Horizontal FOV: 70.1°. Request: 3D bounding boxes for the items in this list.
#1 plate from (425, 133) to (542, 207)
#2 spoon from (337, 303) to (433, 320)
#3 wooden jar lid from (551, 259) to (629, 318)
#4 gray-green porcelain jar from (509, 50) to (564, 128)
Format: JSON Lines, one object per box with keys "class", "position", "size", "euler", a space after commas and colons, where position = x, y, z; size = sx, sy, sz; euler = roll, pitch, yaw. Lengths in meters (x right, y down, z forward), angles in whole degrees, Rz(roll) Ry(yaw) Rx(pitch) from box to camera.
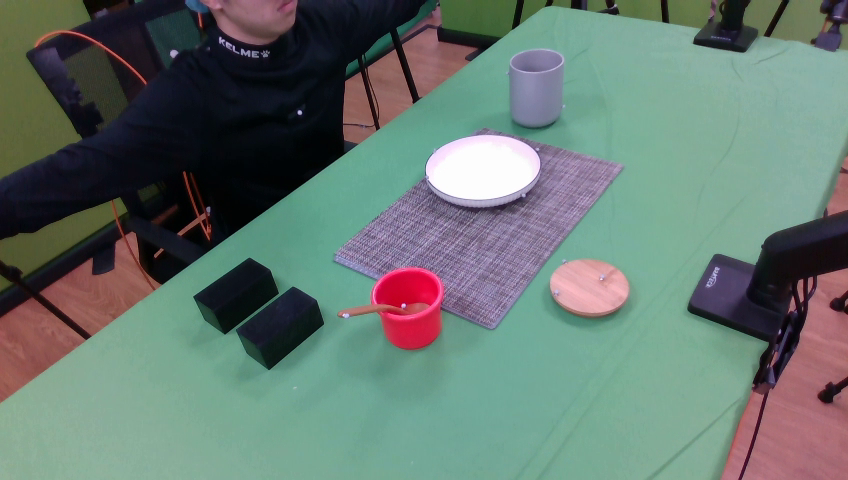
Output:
{"class": "plate", "position": [0.106, -0.122, 1.079], "size": [0.207, 0.039, 0.206], "euler": [-4, 41, 4]}
{"class": "spoon", "position": [-0.048, 0.091, 0.777], "size": [0.041, 0.021, 0.195], "euler": [23, 5, 32]}
{"class": "wooden jar lid", "position": [0.234, 0.070, 0.857], "size": [0.108, 0.021, 0.108], "euler": [-5, 40, 5]}
{"class": "gray-green porcelain jar", "position": [0.222, -0.297, 1.204], "size": [0.106, 0.127, 0.105], "euler": [-4, 41, 4]}
